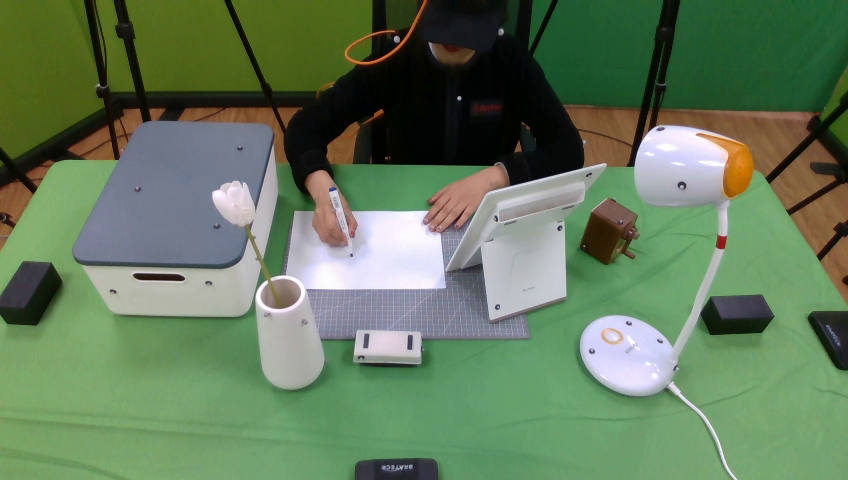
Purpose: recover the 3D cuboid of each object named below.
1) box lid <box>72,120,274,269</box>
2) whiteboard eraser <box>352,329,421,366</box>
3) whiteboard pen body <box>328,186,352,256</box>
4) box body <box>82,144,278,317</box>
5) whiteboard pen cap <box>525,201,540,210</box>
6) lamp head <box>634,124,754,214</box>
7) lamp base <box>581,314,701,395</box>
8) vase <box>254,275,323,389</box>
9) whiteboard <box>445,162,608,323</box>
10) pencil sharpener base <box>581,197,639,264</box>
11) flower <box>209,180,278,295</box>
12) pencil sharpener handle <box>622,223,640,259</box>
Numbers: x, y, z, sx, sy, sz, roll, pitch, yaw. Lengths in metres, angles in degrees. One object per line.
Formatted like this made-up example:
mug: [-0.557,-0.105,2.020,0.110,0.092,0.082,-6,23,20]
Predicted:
box lid: [-0.417,-0.094,1.056,0.263,0.015,0.369,1,47,-3]
whiteboard eraser: [-0.061,0.180,1.005,0.113,0.042,0.055,3,48,-3]
whiteboard pen body: [-0.156,-0.034,1.147,0.017,0.141,0.017,-13,16,4]
box body: [-0.421,-0.041,1.108,0.254,0.161,0.361,2,46,-3]
whiteboard pen cap: [0.230,-0.074,1.289,0.033,0.018,0.018,5,46,4]
lamp head: [0.351,-0.089,0.776,0.112,0.113,0.122,-30,30,-28]
lamp base: [0.361,0.144,0.973,0.178,0.181,0.160,34,53,23]
vase: [-0.209,0.143,0.921,0.098,0.201,0.097,1,46,-1]
whiteboard: [0.186,0.025,1.029,0.217,0.306,0.143,-14,68,-17]
pencil sharpener base: [0.362,-0.017,1.179,0.076,0.107,0.061,37,54,27]
flower: [-0.216,0.075,0.871,0.044,0.363,0.038,-29,36,-19]
pencil sharpener handle: [0.397,0.003,1.146,0.030,0.068,0.036,37,46,27]
